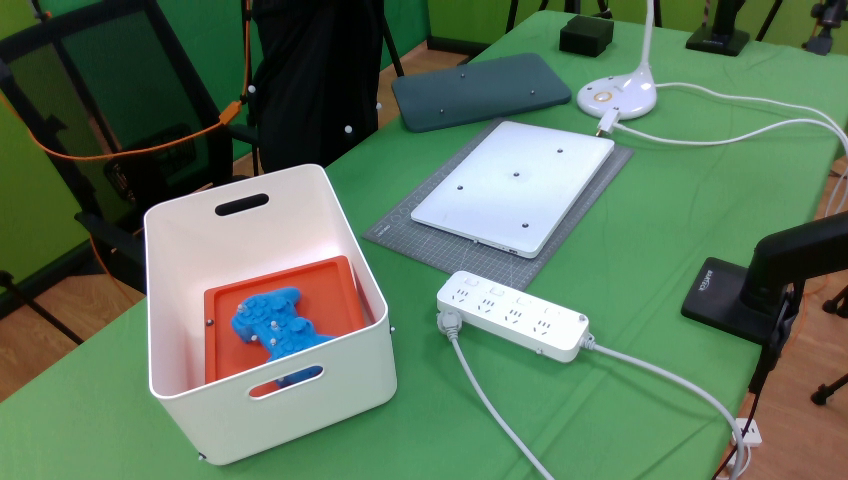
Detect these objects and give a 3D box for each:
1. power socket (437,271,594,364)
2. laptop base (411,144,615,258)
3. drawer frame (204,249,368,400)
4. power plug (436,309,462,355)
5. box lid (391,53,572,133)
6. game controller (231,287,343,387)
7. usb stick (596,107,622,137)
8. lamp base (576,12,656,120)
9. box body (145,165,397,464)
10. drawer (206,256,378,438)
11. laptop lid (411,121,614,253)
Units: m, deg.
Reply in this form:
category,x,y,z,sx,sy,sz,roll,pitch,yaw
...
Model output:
category,x,y,z,sx,sy,sz,roll,pitch,yaw
power socket,0.118,0.102,0.830,0.225,0.033,0.072,20,48,28
laptop base,0.167,-0.102,1.074,0.234,0.023,0.355,16,45,30
drawer frame,-0.174,0.129,0.790,0.202,0.083,0.212,-16,45,-8
power plug,0.032,0.126,0.810,0.035,0.053,0.072,3,59,7
box lid,0.122,-0.339,1.366,0.372,0.015,0.261,-12,40,-5
game controller,-0.167,0.110,0.734,0.097,0.052,0.154,-35,47,-22
usb stick,0.355,-0.223,1.168,0.027,0.059,0.022,37,14,34
lamp base,0.403,-0.359,1.218,0.180,0.181,0.159,-24,43,-23
box body,-0.205,0.080,0.802,0.255,0.161,0.361,-18,41,-12
drawer,-0.177,0.130,0.787,0.195,0.073,0.210,-14,39,-9
laptop lid,0.164,-0.112,1.068,0.240,0.013,0.357,19,46,30
